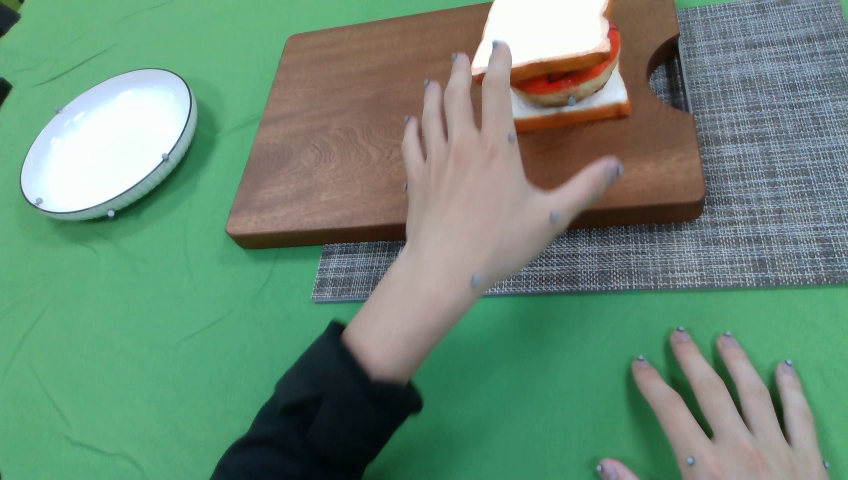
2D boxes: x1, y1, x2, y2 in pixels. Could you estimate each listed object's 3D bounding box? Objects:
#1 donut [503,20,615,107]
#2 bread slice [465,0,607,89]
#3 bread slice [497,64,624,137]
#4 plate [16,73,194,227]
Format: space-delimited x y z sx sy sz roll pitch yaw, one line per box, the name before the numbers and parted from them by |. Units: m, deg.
donut | 0.107 -0.153 0.502 0.099 0.049 0.098 -9 55 14
bread slice | 0.093 -0.177 0.486 0.106 0.018 0.133 -5 53 25
bread slice | 0.113 -0.150 0.535 0.105 0.019 0.130 -7 57 12
plate | -0.344 -0.098 0.669 0.209 0.038 0.207 -8 56 13
